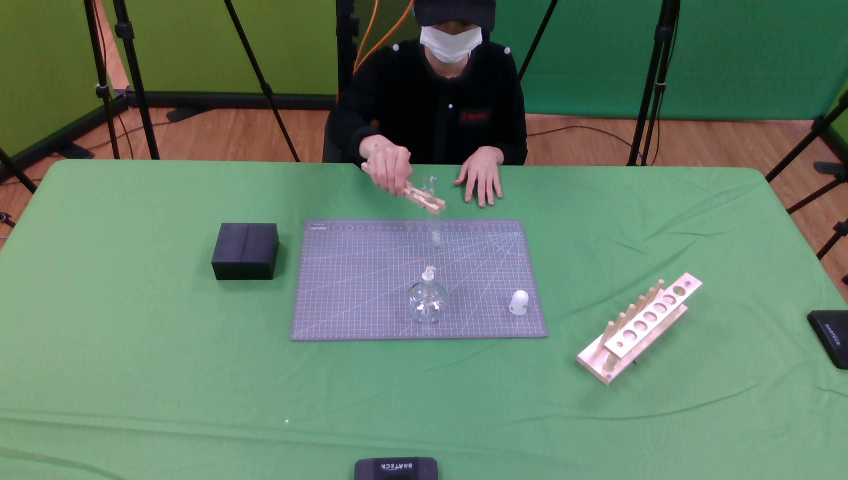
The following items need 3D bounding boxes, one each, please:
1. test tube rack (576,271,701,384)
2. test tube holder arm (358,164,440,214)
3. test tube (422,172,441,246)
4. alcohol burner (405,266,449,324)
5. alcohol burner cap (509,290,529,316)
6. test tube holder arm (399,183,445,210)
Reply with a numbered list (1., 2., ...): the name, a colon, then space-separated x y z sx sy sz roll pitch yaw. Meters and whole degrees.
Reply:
1. test tube rack: 0.373 0.138 1.047 0.242 0.085 0.066 -31 56 -29
2. test tube holder arm: -0.045 -0.086 0.993 0.177 0.015 0.013 29 48 28
3. test tube: 0.013 -0.046 0.976 0.017 0.151 0.017 -4 43 4
4. alcohol burner: 0.005 0.089 1.043 0.078 0.120 0.077 1 44 -1
5. alcohol burner cap: 0.171 0.110 1.086 0.034 0.048 0.033 2 45 -2
6. test tube holder arm: -0.006 -0.071 0.976 0.087 0.015 0.010 24 46 24
